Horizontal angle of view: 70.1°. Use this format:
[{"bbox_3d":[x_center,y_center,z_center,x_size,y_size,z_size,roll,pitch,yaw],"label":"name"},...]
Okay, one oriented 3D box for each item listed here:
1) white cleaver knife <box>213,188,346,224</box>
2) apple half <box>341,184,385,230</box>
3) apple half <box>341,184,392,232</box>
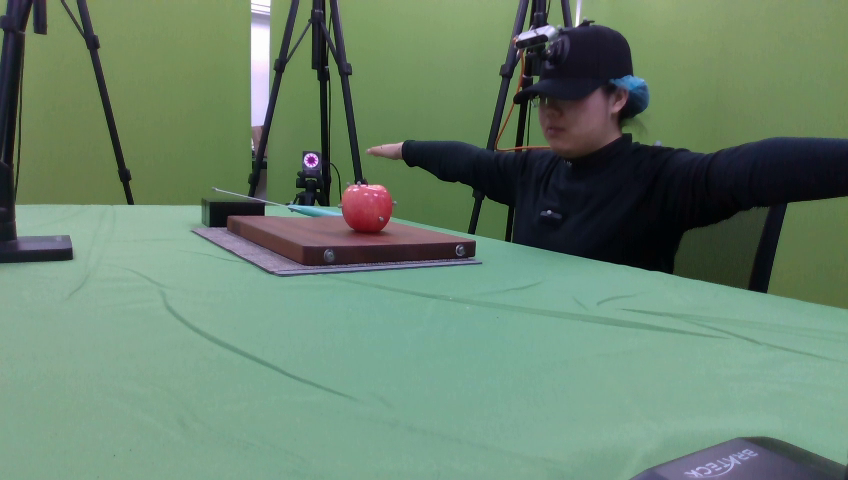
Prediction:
[{"bbox_3d":[-0.281,-0.067,1.226,0.288,0.021,0.065,11,7,-29],"label":"white cleaver knife"},{"bbox_3d":[-0.103,-0.055,0.968,0.082,0.081,0.032,-2,13,-32],"label":"apple half"},{"bbox_3d":[-0.084,-0.048,0.936,0.081,0.074,0.053,1,11,-32],"label":"apple half"}]
